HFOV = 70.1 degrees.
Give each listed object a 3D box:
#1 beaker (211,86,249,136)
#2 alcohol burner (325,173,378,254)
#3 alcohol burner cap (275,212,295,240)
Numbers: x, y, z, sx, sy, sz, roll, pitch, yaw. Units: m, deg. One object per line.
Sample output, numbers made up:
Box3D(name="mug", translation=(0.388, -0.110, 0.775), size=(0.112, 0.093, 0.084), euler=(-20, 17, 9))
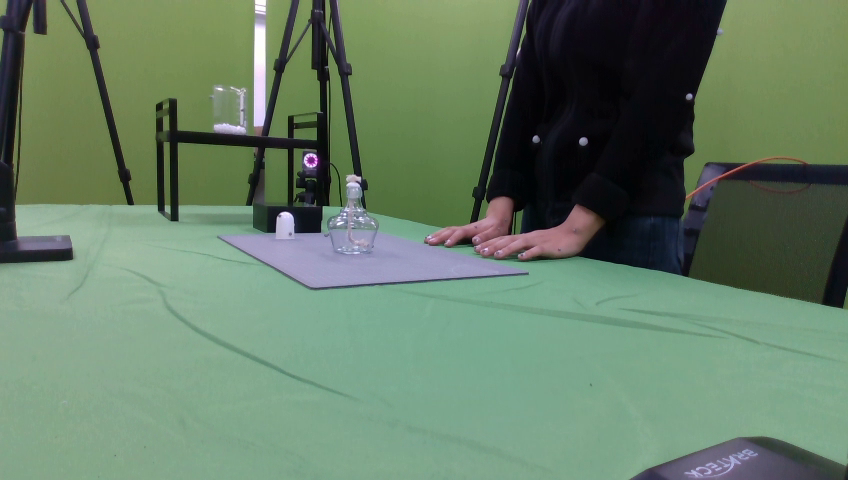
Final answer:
Box3D(name="beaker", translation=(-0.413, -0.274, 1.297), size=(0.074, 0.100, 0.083), euler=(-5, 11, -44))
Box3D(name="alcohol burner", translation=(-0.107, -0.040, 0.896), size=(0.078, 0.119, 0.078), euler=(2, 5, 0))
Box3D(name="alcohol burner cap", translation=(-0.233, -0.024, 1.013), size=(0.034, 0.048, 0.034), euler=(1, 7, 0))
